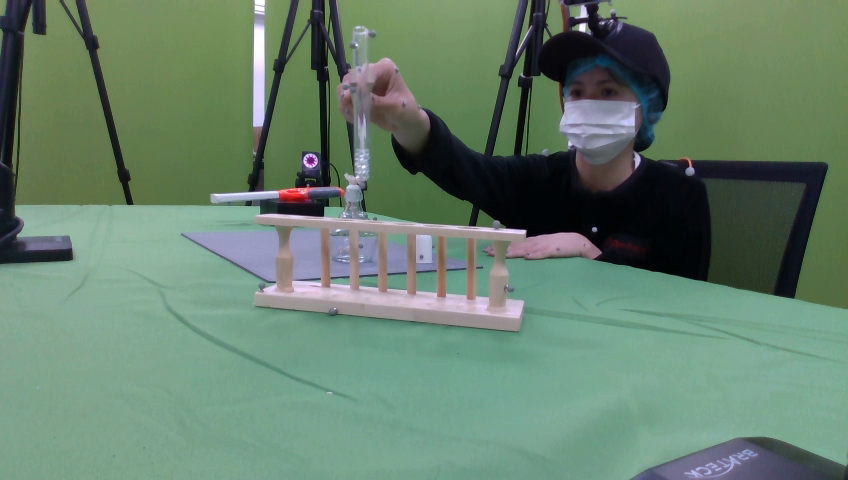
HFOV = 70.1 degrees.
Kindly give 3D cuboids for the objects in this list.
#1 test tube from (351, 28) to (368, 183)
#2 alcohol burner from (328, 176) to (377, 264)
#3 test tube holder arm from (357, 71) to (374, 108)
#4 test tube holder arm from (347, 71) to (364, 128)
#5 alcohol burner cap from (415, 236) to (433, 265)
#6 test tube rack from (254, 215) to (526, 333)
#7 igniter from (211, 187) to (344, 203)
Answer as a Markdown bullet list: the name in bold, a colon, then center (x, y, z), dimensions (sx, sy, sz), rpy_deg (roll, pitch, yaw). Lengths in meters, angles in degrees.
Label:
- **test tube**: center (-0.062, -0.129, 0.580), dimensions (0.017, 0.150, 0.017), rpy_deg (-1, -5, 0)
- **alcohol burner**: center (-0.098, -0.028, 0.819), dimensions (0.078, 0.119, 0.078), rpy_deg (1, 8, 0)
- **test tube holder arm**: center (-0.061, -0.149, 0.605), dimensions (0.010, 0.015, 0.087), rpy_deg (0, -2, -13)
- **test tube holder arm**: center (-0.072, -0.147, 0.649), dimensions (0.013, 0.015, 0.178), rpy_deg (0, -2, -5)
- **alcohol burner cap**: center (-0.004, 0.011, 0.835), dimensions (0.034, 0.048, 0.034), rpy_deg (2, 7, 0)
- **test tube rack**: center (-0.030, 0.025, 0.557), dimensions (0.242, 0.085, 0.067), rpy_deg (4, 7, 12)
- **igniter**: center (-0.300, -0.094, 1.266), dimensions (0.278, 0.025, 0.057), rpy_deg (-6, 12, -34)
